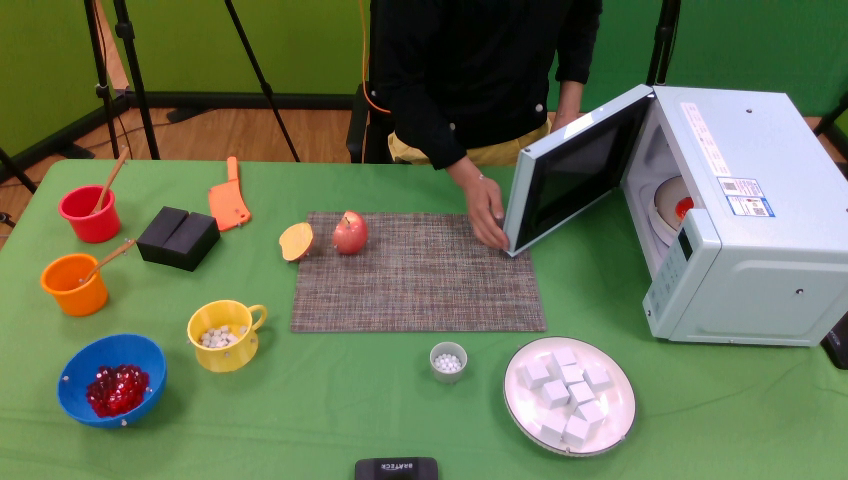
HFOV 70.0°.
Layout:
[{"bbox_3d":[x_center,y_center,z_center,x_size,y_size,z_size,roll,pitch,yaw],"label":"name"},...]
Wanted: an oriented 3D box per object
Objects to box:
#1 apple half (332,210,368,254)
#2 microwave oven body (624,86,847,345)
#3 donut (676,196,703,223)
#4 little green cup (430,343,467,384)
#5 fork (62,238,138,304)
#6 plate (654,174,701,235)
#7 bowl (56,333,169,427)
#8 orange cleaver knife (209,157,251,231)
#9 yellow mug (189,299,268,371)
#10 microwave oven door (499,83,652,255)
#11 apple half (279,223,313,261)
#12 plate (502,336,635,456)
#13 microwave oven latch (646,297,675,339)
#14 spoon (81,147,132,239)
[{"bbox_3d":[-0.136,-0.010,1.158,0.053,0.075,0.080,17,44,8],"label":"apple half"},{"bbox_3d":[0.567,-0.053,1.118,0.326,0.261,0.439,2,45,-1],"label":"microwave oven body"},{"bbox_3d":[0.538,-0.048,1.171,0.099,0.048,0.098,2,42,-2],"label":"donut"},{"bbox_3d":[0.039,0.203,0.993,0.061,0.039,0.061,2,46,-2],"label":"little green cup"},{"bbox_3d":[-0.547,0.053,1.019,0.207,0.019,0.028,-36,41,23],"label":"fork"},{"bbox_3d":[0.555,-0.051,1.183,0.209,0.038,0.208,0,45,0],"label":"plate"},{"bbox_3d":[-0.456,0.223,0.912,0.151,0.077,0.150,3,45,-2],"label":"bowl"},{"bbox_3d":[-0.409,-0.099,1.266,0.077,0.012,0.210,-14,50,-10],"label":"orange cleaver knife"},{"bbox_3d":[-0.316,0.148,1.002,0.131,0.064,0.099,-33,56,-31],"label":"yellow mug"},{"bbox_3d":[0.298,-0.141,1.177,0.356,0.245,0.039,-30,55,-28],"label":"microwave oven door"},{"bbox_3d":[-0.237,0.007,1.157,0.081,0.033,0.081,-14,58,24],"label":"apple half"},{"bbox_3d":[0.225,0.248,0.964,0.208,0.039,0.206,2,46,-2],"label":"plate"},{"bbox_3d":[0.412,0.134,1.060,0.030,0.029,0.078,4,45,1],"label":"microwave oven latch"},{"bbox_3d":[-0.603,-0.089,1.156,0.041,0.022,0.193,27,94,18],"label":"spoon"}]
